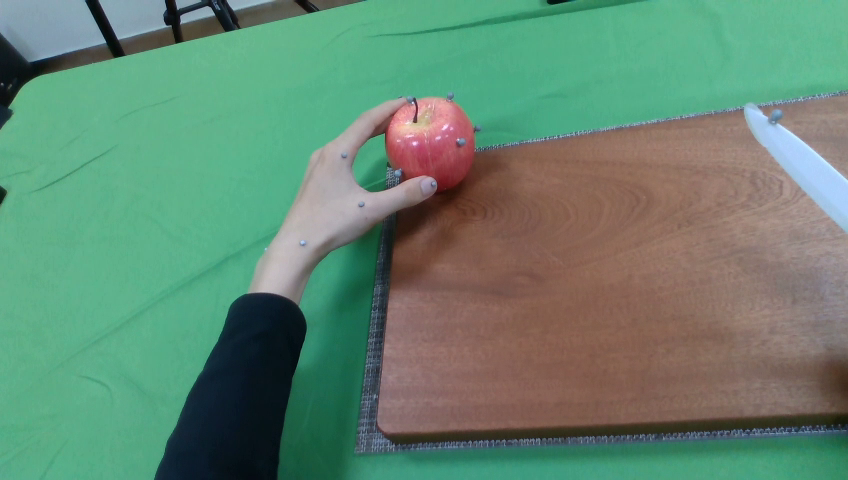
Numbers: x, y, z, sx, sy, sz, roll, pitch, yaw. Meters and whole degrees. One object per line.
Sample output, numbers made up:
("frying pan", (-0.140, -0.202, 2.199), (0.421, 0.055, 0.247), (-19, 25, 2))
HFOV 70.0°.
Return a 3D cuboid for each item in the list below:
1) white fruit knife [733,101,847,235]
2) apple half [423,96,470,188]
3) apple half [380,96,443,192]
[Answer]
("white fruit knife", (0.253, -0.006, 0.340), (0.016, 0.027, 0.206), (-31, 73, -40))
("apple half", (0.025, -0.086, 0.534), (0.032, 0.082, 0.080), (-4, 54, 18))
("apple half", (-0.011, -0.083, 0.545), (0.053, 0.075, 0.080), (-5, 56, 19))
